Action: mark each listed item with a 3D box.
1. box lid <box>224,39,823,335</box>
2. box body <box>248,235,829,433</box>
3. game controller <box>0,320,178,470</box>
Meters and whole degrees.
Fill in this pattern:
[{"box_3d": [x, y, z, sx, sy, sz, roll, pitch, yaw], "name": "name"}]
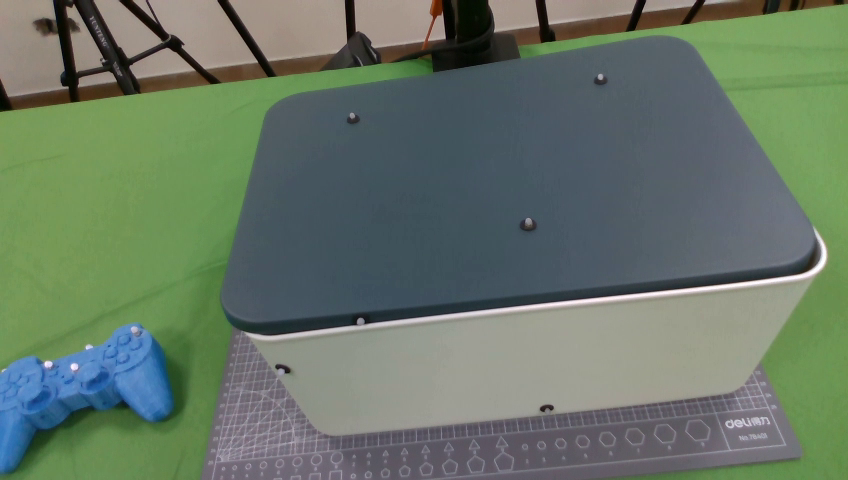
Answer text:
[{"box_3d": [0.049, -0.057, 0.444, 0.371, 0.015, 0.260, -7, 45, 3], "name": "box lid"}, {"box_3d": [0.068, 0.002, 0.495, 0.364, 0.162, 0.251, -7, 47, 3], "name": "box body"}, {"box_3d": [-0.296, 0.125, 0.522, 0.155, 0.052, 0.096, -17, 44, -8], "name": "game controller"}]
